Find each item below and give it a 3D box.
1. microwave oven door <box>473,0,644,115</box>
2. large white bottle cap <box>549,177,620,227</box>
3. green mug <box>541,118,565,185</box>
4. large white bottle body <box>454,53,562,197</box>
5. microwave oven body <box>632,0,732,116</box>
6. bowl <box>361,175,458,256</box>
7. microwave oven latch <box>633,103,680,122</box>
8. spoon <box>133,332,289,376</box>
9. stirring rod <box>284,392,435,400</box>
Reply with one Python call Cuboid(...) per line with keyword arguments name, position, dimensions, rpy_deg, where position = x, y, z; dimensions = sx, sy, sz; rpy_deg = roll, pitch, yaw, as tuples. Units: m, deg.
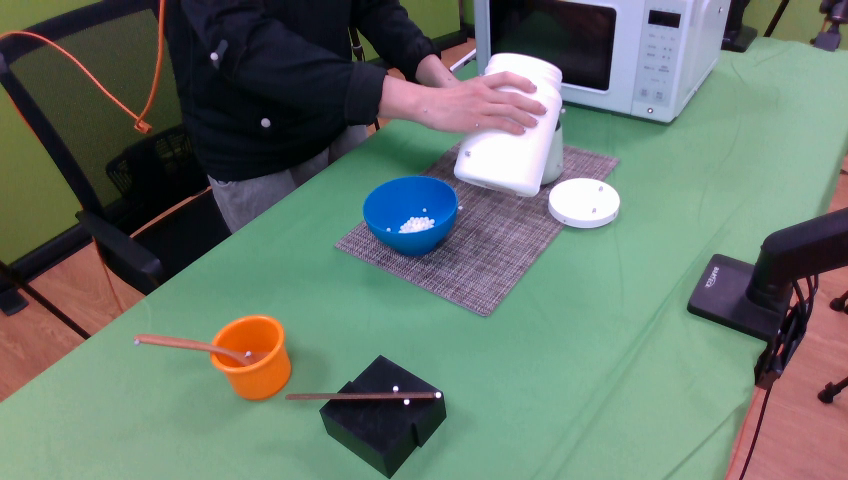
Cuboid(name="microwave oven door", position=(0.257, -0.396, 1.199), dimensions=(0.353, 0.245, 0.039), rpy_deg=(21, 48, 29))
Cuboid(name="large white bottle cap", position=(0.265, -0.064, 1.000), dimensions=(0.115, 0.018, 0.114), rpy_deg=(-1, 42, 2))
Cuboid(name="green mug", position=(0.185, -0.161, 1.061), dimensions=(0.124, 0.105, 0.092), rpy_deg=(15, 46, 25))
Cuboid(name="large white bottle body", position=(0.128, -0.167, 0.893), dimensions=(0.131, 0.184, 0.130), rpy_deg=(15, 1, 0))
Cuboid(name="microwave oven body", position=(0.377, -0.462, 1.267), dimensions=(0.438, 0.261, 0.327), rpy_deg=(21, 48, 30))
Cuboid(name="bowl", position=(-0.019, -0.028, 0.955), dimensions=(0.151, 0.077, 0.150), rpy_deg=(-3, 40, 3))
Cuboid(name="microwave oven latch", position=(0.443, -0.249, 1.157), dimensions=(0.078, 0.029, 0.030), rpy_deg=(21, 48, 30))
Cuboid(name="spoon", position=(-0.257, 0.137, 0.747), dimensions=(0.021, 0.195, 0.041), rpy_deg=(-47, 40, 23))
Cuboid(name="stirring rod", position=(-0.075, 0.180, 0.698), dimensions=(0.176, 0.006, 0.014), rpy_deg=(-2, 6, 7))
